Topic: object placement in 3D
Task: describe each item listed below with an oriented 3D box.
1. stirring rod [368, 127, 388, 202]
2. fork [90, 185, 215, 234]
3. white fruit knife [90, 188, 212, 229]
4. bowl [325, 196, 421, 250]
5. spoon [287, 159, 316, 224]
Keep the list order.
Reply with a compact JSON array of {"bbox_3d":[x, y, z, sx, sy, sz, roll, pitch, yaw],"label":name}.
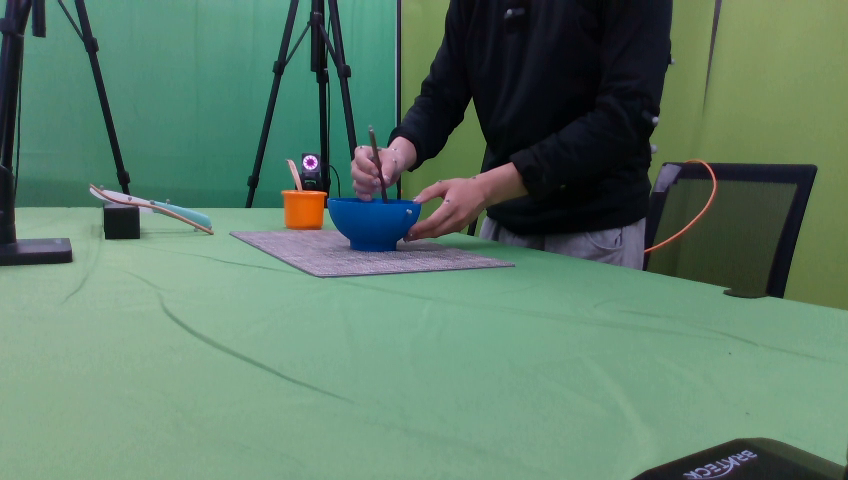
[{"bbox_3d":[-0.067,-0.093,0.944,0.006,0.176,0.014,-24,37,-20],"label":"stirring rod"},{"bbox_3d":[-0.452,-0.049,1.018,0.208,0.018,0.028,21,-7,-33],"label":"fork"},{"bbox_3d":[-0.478,-0.058,1.073,0.208,0.027,0.016,17,-4,-30],"label":"white fruit knife"},{"bbox_3d":[-0.080,-0.027,0.957,0.151,0.077,0.151,2,7,0],"label":"bowl"},{"bbox_3d":[-0.261,-0.104,1.263,0.042,0.193,0.021,0,-37,-28],"label":"spoon"}]
